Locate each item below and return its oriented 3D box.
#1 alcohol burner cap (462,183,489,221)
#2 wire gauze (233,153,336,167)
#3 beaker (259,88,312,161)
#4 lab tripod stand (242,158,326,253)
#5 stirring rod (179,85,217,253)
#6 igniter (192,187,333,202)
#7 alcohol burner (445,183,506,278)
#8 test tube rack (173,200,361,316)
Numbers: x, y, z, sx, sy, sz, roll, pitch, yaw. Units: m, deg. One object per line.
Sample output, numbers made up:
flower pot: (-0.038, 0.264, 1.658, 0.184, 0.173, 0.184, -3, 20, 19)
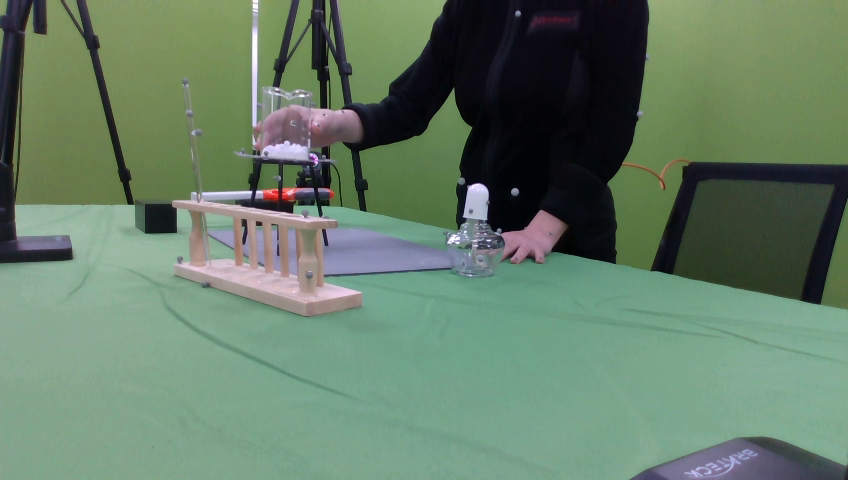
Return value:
alcohol burner cap: (0.067, -0.048, 0.765, 0.034, 0.048, 0.034, 5, 5, 0)
wire gauze: (-0.205, -0.118, 0.887, 0.122, 0.011, 0.124, 2, 4, -32)
beaker: (-0.201, -0.166, 0.876, 0.074, 0.100, 0.083, 1, 8, -18)
lab tripod stand: (-0.207, -0.054, 0.895, 0.148, 0.131, 0.148, 3, 5, 0)
stirring rod: (-0.236, -0.073, 0.634, 0.006, 0.176, 0.014, 0, 9, 41)
igniter: (-0.316, -0.090, 1.213, 0.278, 0.025, 0.057, -5, 12, -31)
alcohol burner: (0.066, -0.013, 0.770, 0.078, 0.119, 0.078, 0, 7, 0)
test tube rack: (-0.169, 0.009, 0.622, 0.241, 0.085, 0.067, 9, 10, 41)
